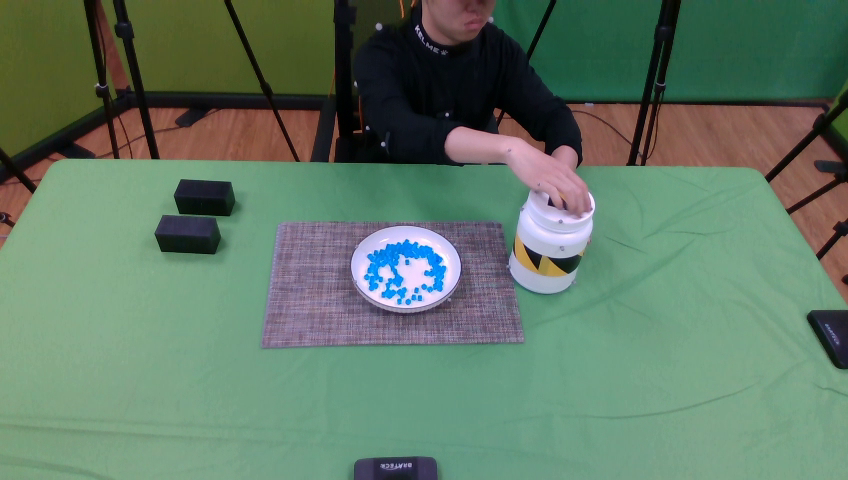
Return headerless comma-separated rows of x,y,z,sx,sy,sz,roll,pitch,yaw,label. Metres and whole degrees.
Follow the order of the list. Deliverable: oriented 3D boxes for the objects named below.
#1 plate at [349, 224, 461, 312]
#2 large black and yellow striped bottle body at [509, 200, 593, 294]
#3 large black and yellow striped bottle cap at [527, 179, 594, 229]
-0.035,0.054,1.126,0.208,0.039,0.206,2,46,-2,plate
0.231,-0.005,1.106,0.131,0.185,0.130,2,46,-2,large black and yellow striped bottle body
0.235,-0.064,1.044,0.115,0.019,0.114,3,46,-3,large black and yellow striped bottle cap
